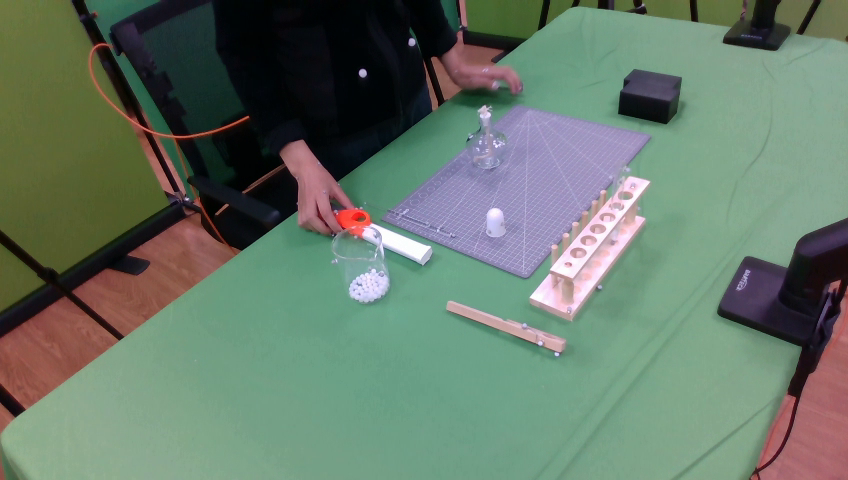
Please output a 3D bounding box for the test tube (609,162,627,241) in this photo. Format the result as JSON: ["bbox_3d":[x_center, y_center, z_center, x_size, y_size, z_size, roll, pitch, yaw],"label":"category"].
[{"bbox_3d":[0.277,-0.051,0.864,0.017,0.151,0.017,-6,47,7],"label":"test tube"}]

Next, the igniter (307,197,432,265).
[{"bbox_3d":[-0.102,-0.020,1.020,0.274,0.025,0.057,23,59,33],"label":"igniter"}]

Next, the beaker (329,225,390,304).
[{"bbox_3d":[-0.089,0.040,0.890,0.074,0.101,0.083,-32,46,-24],"label":"beaker"}]

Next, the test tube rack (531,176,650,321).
[{"bbox_3d":[0.246,0.002,0.884,0.066,0.085,0.243,22,49,32],"label":"test tube rack"}]

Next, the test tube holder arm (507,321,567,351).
[{"bbox_3d":[0.148,0.128,0.808,0.087,0.015,0.010,16,11,28],"label":"test tube holder arm"}]

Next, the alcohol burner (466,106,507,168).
[{"bbox_3d":[0.114,-0.193,1.112,0.078,0.119,0.077,-4,41,4],"label":"alcohol burner"}]

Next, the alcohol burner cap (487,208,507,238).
[{"bbox_3d":[0.116,-0.030,0.975,0.034,0.048,0.033,-6,40,5],"label":"alcohol burner cap"}]

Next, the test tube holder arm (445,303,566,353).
[{"bbox_3d":[0.107,0.117,0.824,0.177,0.015,0.013,16,11,27],"label":"test tube holder arm"}]

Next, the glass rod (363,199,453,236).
[{"bbox_3d":[-0.031,-0.041,1.041,0.198,0.008,0.008,22,50,31],"label":"glass rod"}]
